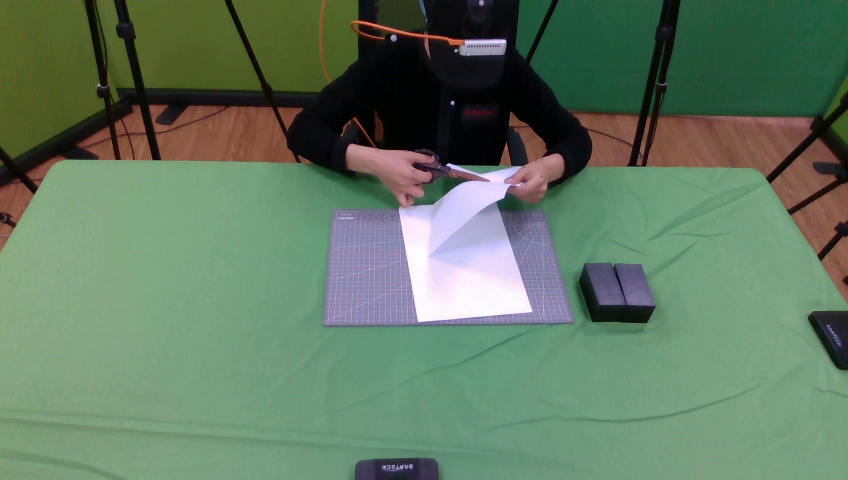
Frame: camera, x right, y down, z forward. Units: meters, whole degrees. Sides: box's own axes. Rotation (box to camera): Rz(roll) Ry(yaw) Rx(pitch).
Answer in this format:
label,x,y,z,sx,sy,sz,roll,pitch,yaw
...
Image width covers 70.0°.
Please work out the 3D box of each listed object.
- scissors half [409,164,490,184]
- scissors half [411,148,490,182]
label,x,y,z,sx,sy,sz,roll,pitch,yaw
scissors half,0.050,-0.130,1.235,0.175,0.040,0.013,6,16,21
scissors half,0.052,-0.149,1.228,0.175,0.040,0.013,23,26,15
